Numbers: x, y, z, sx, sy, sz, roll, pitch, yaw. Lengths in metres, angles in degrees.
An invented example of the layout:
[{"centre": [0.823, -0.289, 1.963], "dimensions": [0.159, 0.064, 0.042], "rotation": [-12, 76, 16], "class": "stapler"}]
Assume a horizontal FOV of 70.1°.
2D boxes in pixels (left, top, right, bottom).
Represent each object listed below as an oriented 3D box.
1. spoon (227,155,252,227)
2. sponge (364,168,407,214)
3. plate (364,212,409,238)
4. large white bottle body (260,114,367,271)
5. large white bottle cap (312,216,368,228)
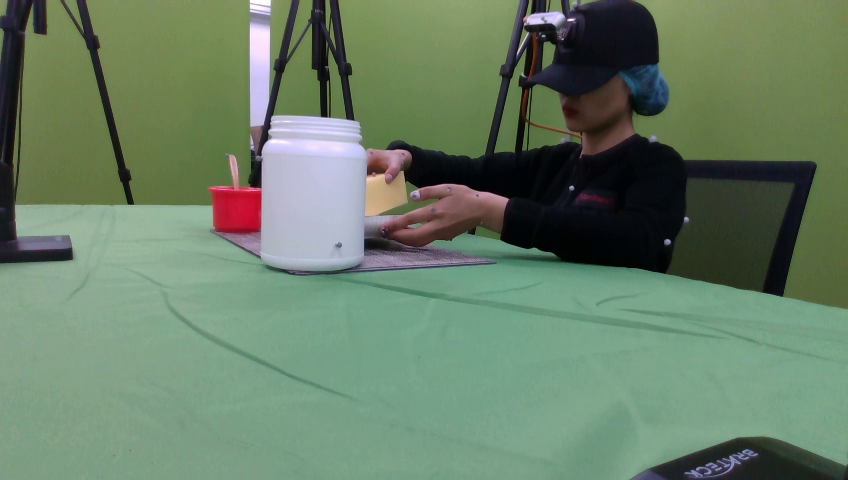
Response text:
[{"centre": [-0.343, -0.093, 1.108], "dimensions": [0.042, 0.021, 0.193], "rotation": [-1, 52, -22], "class": "spoon"}, {"centre": [-0.128, -0.073, 1.020], "dimensions": [0.118, 0.061, 0.207], "rotation": [-3, 13, 25], "class": "sponge"}, {"centre": [-0.127, -0.023, 0.980], "dimensions": [0.209, 0.038, 0.209], "rotation": [-3, 3, 0], "class": "plate"}, {"centre": [-0.139, -0.061, 0.763], "dimensions": [0.131, 0.184, 0.130], "rotation": [3, 8, 0], "class": "large white bottle body"}, {"centre": [-0.171, -0.038, 1.234], "dimensions": [0.115, 0.018, 0.115], "rotation": [2, 5, 0], "class": "large white bottle cap"}]
